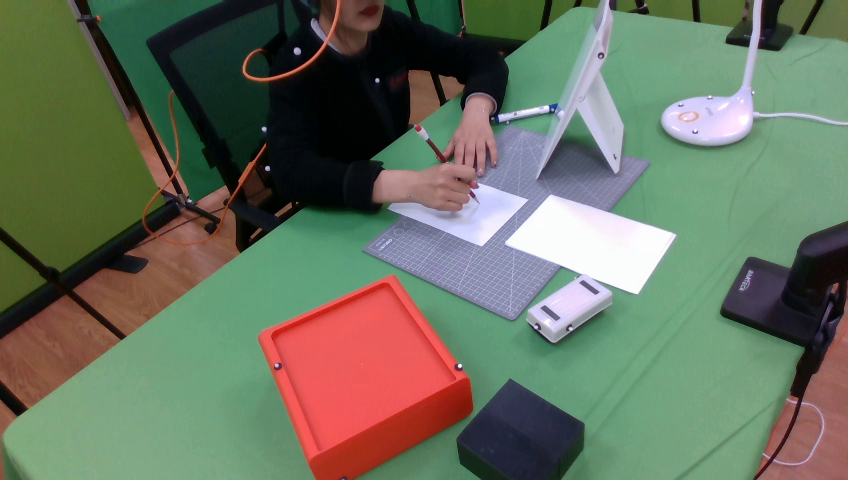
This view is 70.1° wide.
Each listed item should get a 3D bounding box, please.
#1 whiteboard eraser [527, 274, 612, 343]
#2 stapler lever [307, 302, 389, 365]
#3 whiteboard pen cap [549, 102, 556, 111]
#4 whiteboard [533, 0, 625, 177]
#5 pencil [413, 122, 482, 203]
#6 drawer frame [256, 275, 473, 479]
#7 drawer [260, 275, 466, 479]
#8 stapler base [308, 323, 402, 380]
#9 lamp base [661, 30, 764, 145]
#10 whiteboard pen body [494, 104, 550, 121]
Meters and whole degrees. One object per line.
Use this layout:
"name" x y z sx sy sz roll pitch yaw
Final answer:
"whiteboard eraser" 0.198 0.094 0.820 0.113 0.042 0.055 -30 43 -22
"stapler lever" -0.101 0.121 0.799 0.118 0.040 0.026 -26 29 -17
"whiteboard pen cap" 0.273 -0.279 1.259 0.033 0.018 0.018 -10 40 -4
"whiteboard" 0.321 -0.258 1.049 0.144 0.306 0.217 21 45 4
"pencil" 0.043 -0.122 0.990 0.012 0.195 0.012 -27 37 24
"drawer frame" -0.078 0.164 0.756 0.202 0.083 0.211 -23 43 -17
"drawer" -0.080 0.162 0.760 0.195 0.073 0.210 -22 42 -16
"stapler base" -0.094 0.142 0.812 0.131 0.024 0.041 -25 29 -17
"lamp base" 0.535 -0.287 1.096 0.179 0.181 0.159 -10 40 -4
"whiteboard pen body" 0.216 -0.268 1.256 0.141 0.017 0.017 -12 40 -4
